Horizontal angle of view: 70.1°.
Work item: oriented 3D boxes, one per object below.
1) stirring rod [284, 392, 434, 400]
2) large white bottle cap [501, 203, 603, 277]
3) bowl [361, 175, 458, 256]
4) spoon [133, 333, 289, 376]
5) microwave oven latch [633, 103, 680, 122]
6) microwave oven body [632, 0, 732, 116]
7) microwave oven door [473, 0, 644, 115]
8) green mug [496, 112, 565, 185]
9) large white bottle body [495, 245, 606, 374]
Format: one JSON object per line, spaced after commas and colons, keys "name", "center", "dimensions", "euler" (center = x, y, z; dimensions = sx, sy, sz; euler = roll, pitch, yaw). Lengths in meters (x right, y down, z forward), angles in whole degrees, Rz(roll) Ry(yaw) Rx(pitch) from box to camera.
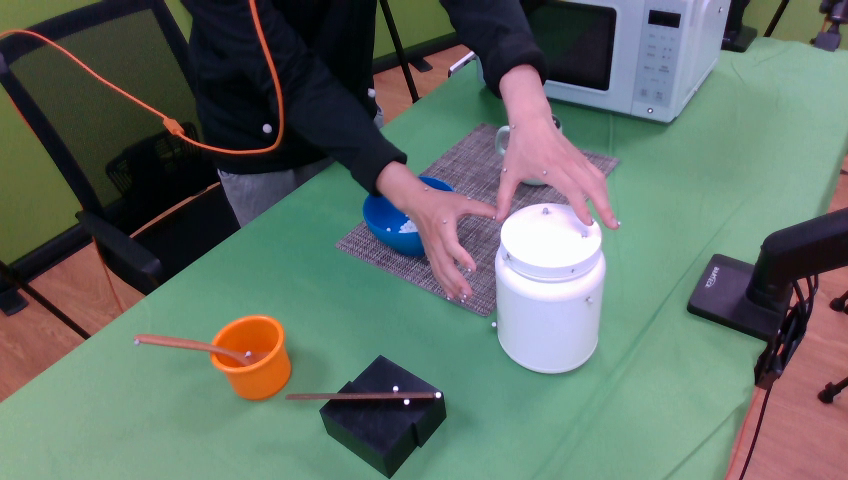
{"name": "stirring rod", "center": [-0.076, 0.180, 0.698], "dimensions": [0.176, 0.006, 0.014], "euler": [-2, 6, 6]}
{"name": "large white bottle cap", "center": [0.145, -0.002, 0.693], "dimensions": [0.115, 0.018, 0.114], "euler": [-4, 41, 4]}
{"name": "bowl", "center": [-0.019, -0.028, 0.955], "dimensions": [0.151, 0.077, 0.150], "euler": [-4, 40, 4]}
{"name": "spoon", "center": [-0.257, 0.137, 0.747], "dimensions": [0.195, 0.021, 0.041], "euler": [25, 27, -36]}
{"name": "microwave oven latch", "center": [0.443, -0.249, 1.157], "dimensions": [0.078, 0.029, 0.030], "euler": [21, 48, 30]}
{"name": "microwave oven body", "center": [0.377, -0.462, 1.267], "dimensions": [0.438, 0.261, 0.327], "euler": [21, 48, 30]}
{"name": "microwave oven door", "center": [0.257, -0.396, 1.199], "dimensions": [0.353, 0.245, 0.039], "euler": [21, 48, 29]}
{"name": "green mug", "center": [0.185, -0.161, 1.061], "dimensions": [0.124, 0.105, 0.092], "euler": [15, 46, 25]}
{"name": "large white bottle body", "center": [0.154, 0.061, 0.748], "dimensions": [0.130, 0.185, 0.130], "euler": [-4, 40, 4]}
